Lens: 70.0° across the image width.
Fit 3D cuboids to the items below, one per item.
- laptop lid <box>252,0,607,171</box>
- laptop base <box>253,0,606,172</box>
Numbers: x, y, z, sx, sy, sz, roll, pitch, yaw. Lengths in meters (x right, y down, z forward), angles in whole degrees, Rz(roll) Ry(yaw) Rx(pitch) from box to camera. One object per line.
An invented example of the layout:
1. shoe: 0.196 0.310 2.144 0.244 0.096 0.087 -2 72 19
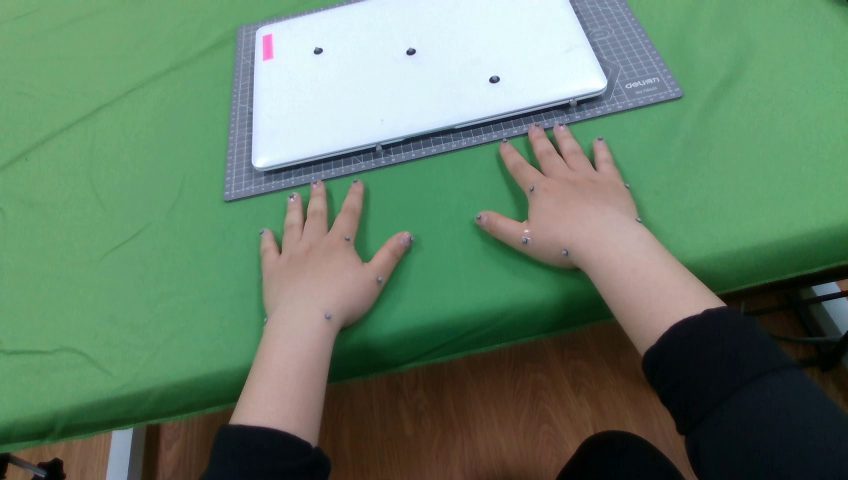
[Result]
1. laptop lid: -0.012 -0.196 0.644 0.356 0.013 0.239 -11 55 4
2. laptop base: -0.011 -0.191 0.654 0.354 0.023 0.233 -12 56 3
